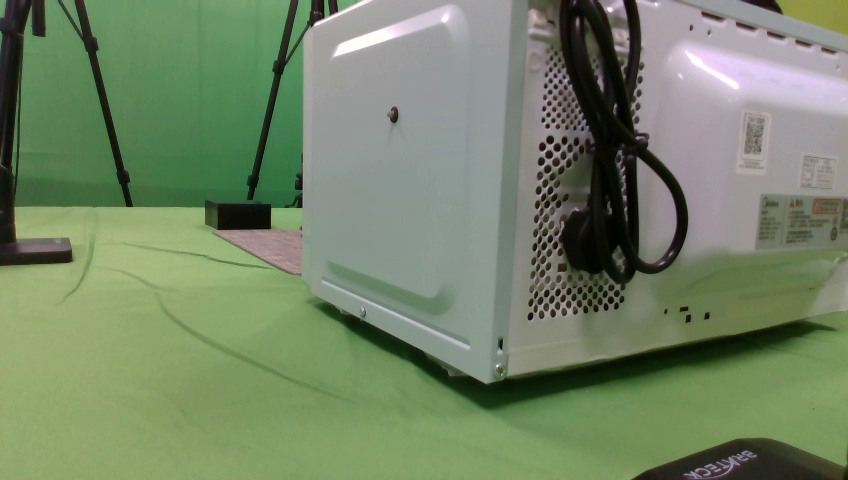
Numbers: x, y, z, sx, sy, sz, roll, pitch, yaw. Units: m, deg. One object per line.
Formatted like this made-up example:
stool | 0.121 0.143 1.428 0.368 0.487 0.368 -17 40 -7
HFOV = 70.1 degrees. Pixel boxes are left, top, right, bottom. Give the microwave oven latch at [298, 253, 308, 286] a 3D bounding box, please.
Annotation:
microwave oven latch | -0.081 0.027 0.582 0.079 0.029 0.030 -1 7 -32

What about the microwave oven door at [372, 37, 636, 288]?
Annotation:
microwave oven door | 0.110 -0.080 0.686 0.358 0.243 0.039 -2 9 -33

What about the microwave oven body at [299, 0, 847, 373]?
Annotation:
microwave oven body | 0.152 -0.055 0.542 0.444 0.260 0.324 -2 7 -33
